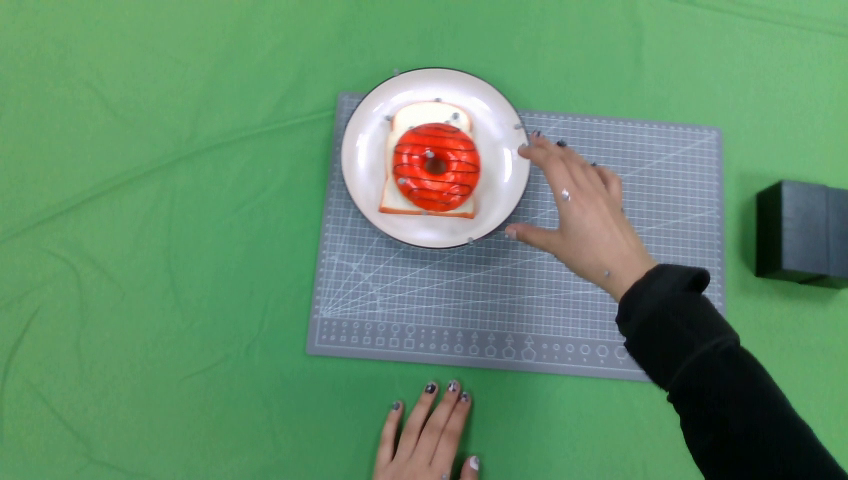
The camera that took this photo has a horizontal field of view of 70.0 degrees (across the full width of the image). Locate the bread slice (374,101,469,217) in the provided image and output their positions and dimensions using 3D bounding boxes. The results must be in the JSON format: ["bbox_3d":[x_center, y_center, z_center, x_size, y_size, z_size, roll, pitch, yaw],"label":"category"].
[{"bbox_3d":[-0.001,-0.092,0.671,0.105,0.019,0.131,2,78,-4],"label":"bread slice"}]

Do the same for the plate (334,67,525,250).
[{"bbox_3d":[0.006,-0.088,0.669,0.209,0.038,0.208,1,78,-3],"label":"plate"}]

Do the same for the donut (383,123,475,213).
[{"bbox_3d":[0.005,-0.076,0.638,0.099,0.048,0.098,1,80,-6],"label":"donut"}]
